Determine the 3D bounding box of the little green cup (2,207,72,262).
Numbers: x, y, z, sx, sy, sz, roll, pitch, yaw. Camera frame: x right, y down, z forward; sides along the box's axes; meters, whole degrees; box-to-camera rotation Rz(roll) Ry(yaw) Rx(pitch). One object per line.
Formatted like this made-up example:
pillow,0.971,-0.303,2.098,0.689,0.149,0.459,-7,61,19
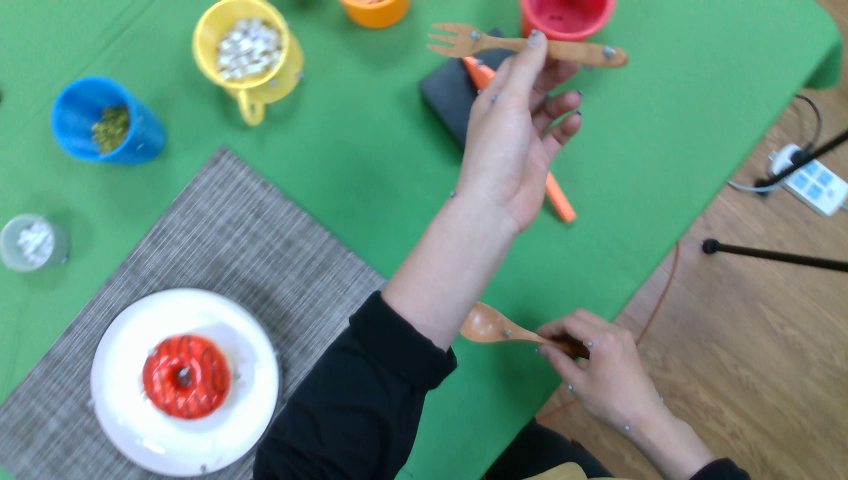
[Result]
little green cup,-0.433,-0.005,0.682,0.061,0.038,0.061,0,89,2

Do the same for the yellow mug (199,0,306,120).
yellow mug,-0.186,-0.198,0.666,0.100,0.064,0.131,-1,90,1

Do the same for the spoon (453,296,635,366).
spoon,0.123,0.099,0.619,0.193,0.022,0.041,16,70,2

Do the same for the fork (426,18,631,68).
fork,0.066,-0.146,0.450,0.019,0.205,0.028,8,105,-38

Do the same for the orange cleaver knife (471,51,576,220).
orange cleaver knife,0.107,-0.111,0.650,0.012,0.076,0.213,-34,117,2

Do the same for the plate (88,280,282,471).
plate,-0.259,0.147,0.672,0.209,0.038,0.209,0,89,1

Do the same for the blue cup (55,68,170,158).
blue cup,-0.324,-0.128,0.651,0.092,0.100,0.092,0,89,0

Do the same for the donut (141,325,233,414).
donut,-0.258,0.142,0.661,0.099,0.048,0.099,0,91,2
